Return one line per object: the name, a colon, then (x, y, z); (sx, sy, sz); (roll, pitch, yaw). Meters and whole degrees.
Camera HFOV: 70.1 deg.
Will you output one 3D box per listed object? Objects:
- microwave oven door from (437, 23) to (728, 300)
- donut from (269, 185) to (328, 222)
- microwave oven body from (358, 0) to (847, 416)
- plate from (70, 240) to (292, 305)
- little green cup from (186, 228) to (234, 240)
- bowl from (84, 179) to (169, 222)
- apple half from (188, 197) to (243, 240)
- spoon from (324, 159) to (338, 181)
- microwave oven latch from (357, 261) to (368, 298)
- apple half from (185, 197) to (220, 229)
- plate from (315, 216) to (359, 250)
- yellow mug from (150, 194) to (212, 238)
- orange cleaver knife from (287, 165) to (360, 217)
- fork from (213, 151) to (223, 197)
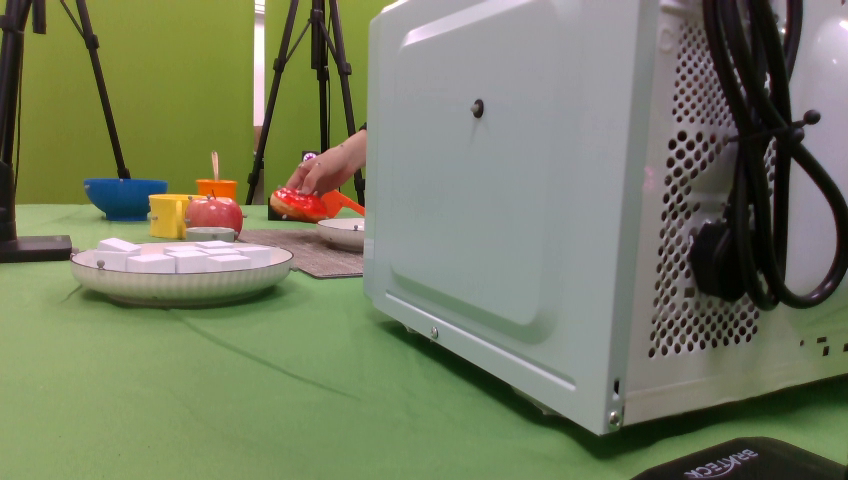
microwave oven door: (0.180, -0.072, 0.621); (0.358, 0.243, 0.039); (-2, 8, -29)
donut: (-0.210, -0.060, 1.016); (0.099, 0.048, 0.099); (21, 9, -3)
microwave oven body: (0.211, -0.047, 0.474); (0.444, 0.260, 0.324); (-1, 7, -28)
plate: (-0.242, 0.031, 0.618); (0.208, 0.039, 0.207); (2, 8, 0)
little green cup: (-0.284, 0.005, 0.805); (0.061, 0.038, 0.061); (2, 8, 0)
bowl: (-0.584, -0.078, 1.194); (0.151, 0.077, 0.151); (3, 8, 0)
apple half: (-0.305, -0.026, 0.907); (0.053, 0.074, 0.081); (12, 8, 31)
spoon: (-0.257, -0.147, 1.567); (0.041, 0.022, 0.193); (2, 50, 19)
microwave oven latch: (-0.019, 0.033, 0.530); (0.079, 0.029, 0.030); (-1, 7, -26)
apple half: (-0.338, -0.031, 0.927); (0.032, 0.081, 0.081); (12, 12, 31)
plate: (-0.068, -0.011, 0.963); (0.209, 0.038, 0.209); (3, 8, 0)
yellow mug: (-0.401, -0.039, 1.003); (0.100, 0.064, 0.130); (0, 9, -20)
orange cleaver knife: (-0.211, -0.093, 1.382); (0.212, 0.077, 0.012); (33, 1, -15)
fork: (-0.494, -0.143, 1.442); (0.028, 0.018, 0.206); (-2, 52, -20)
